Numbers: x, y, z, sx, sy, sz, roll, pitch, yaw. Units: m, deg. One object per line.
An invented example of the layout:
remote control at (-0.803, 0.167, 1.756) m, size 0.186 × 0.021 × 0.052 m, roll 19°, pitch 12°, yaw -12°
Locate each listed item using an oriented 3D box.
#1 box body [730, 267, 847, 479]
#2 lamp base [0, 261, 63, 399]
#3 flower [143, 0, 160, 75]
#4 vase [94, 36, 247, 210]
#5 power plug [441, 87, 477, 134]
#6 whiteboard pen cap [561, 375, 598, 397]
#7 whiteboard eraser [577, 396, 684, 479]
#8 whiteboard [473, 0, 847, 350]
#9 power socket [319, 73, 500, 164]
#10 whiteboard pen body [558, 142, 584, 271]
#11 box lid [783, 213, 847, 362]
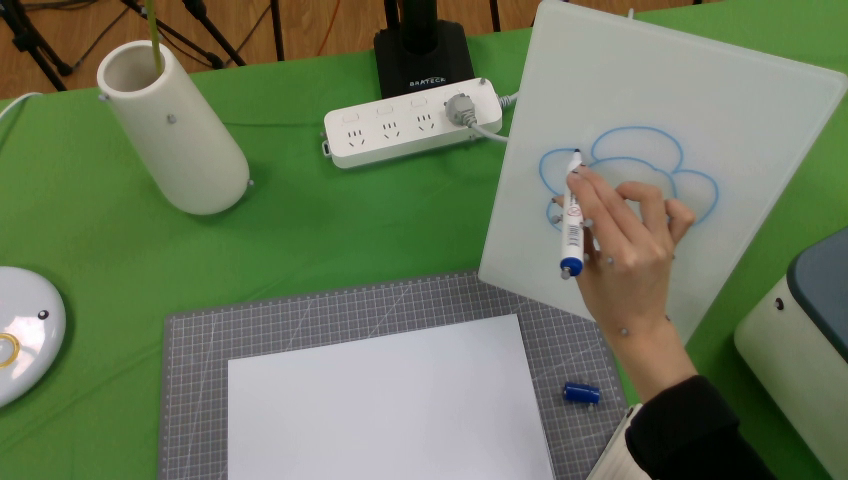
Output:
box body at (0.475, 0.139, 0.495) m, size 0.254 × 0.161 × 0.360 m, roll -25°, pitch 65°, yaw -10°
lamp base at (-0.471, 0.055, 0.562) m, size 0.178 × 0.182 × 0.160 m, roll 21°, pitch 66°, yaw 16°
flower at (-0.240, -0.146, 0.551) m, size 0.038 × 0.362 × 0.044 m, roll 39°, pitch 61°, yaw 1°
vase at (-0.257, -0.113, 0.627) m, size 0.098 × 0.201 × 0.097 m, roll -1°, pitch 63°, yaw 3°
power plug at (0.039, -0.143, 0.698) m, size 0.035 × 0.053 × 0.072 m, roll -4°, pitch 70°, yaw 0°
whiteboard pen cap at (0.150, 0.141, 0.584) m, size 0.033 × 0.018 × 0.018 m, roll 9°, pitch 64°, yaw 4°
whiteboard eraser at (0.180, 0.200, 0.541) m, size 0.055 × 0.042 × 0.112 m, roll 34°, pitch 70°, yaw 18°
whiteboard at (0.193, -0.076, 0.567) m, size 0.216 × 0.308 × 0.143 m, roll 20°, pitch 45°, yaw 13°
power socket at (-0.016, -0.147, 0.727) m, size 0.227 × 0.033 × 0.071 m, roll -13°, pitch 65°, yaw -5°
whiteboard pen body at (0.112, -0.032, 0.455) m, size 0.017 × 0.017 × 0.139 m, roll 9°, pitch 47°, yaw 7°
box lid at (0.470, 0.103, 0.429) m, size 0.263 × 0.015 × 0.368 m, roll -26°, pitch 66°, yaw -9°
